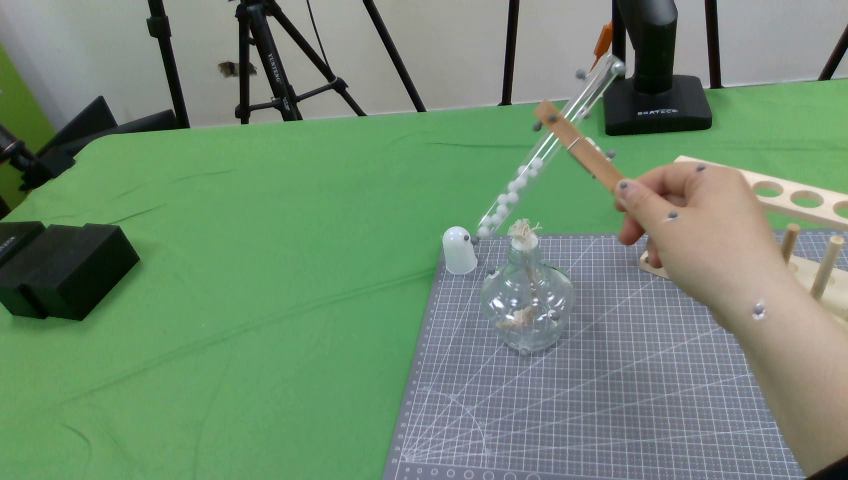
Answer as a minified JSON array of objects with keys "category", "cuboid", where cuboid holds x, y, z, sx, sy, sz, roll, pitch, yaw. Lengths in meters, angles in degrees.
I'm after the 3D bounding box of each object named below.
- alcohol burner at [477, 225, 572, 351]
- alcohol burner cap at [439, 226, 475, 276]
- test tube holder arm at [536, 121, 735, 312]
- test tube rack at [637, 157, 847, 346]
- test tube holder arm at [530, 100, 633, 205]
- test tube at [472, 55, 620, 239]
[{"category":"alcohol burner","cuboid":[0.080,0.034,0.486,0.078,0.120,0.077,-6,41,6]},{"category":"alcohol burner cap","cuboid":[0.031,0.008,0.588,0.034,0.048,0.033,-7,40,6]},{"category":"test tube holder arm","cuboid":[0.135,-0.025,0.400,0.015,0.013,0.177,-45,73,19]},{"category":"test tube rack","cuboid":[0.296,0.015,0.472,0.240,0.086,0.066,23,51,36]},{"category":"test tube holder arm","cuboid":[0.105,-0.058,0.405,0.087,0.015,0.010,48,19,9]},{"category":"test tube","cuboid":[0.081,-0.061,0.420,0.150,0.017,0.017,-54,38,16]}]
